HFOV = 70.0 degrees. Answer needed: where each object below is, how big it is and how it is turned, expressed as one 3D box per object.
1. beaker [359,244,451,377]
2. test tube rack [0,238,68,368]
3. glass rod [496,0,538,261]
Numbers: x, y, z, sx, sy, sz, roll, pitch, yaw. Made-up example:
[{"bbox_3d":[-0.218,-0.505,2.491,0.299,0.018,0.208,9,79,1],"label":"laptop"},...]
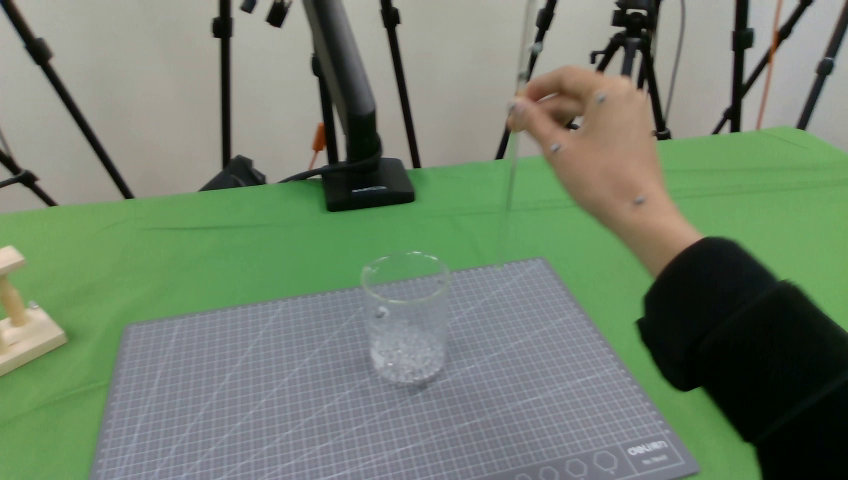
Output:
[{"bbox_3d":[-0.018,0.063,0.533,0.083,0.101,0.074,22,40,30],"label":"beaker"},{"bbox_3d":[-0.448,0.095,0.504,0.066,0.086,0.242,26,42,33],"label":"test tube rack"},{"bbox_3d":[0.065,-0.070,0.423,0.008,0.201,0.008,2,31,-1],"label":"glass rod"}]
